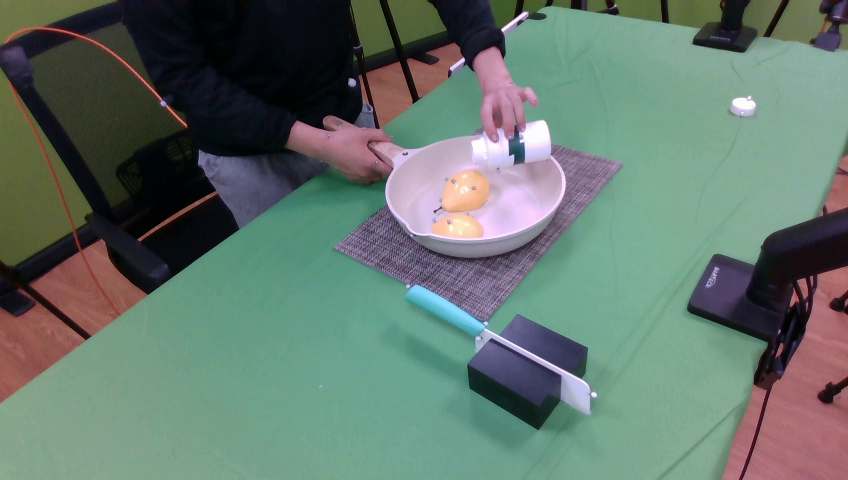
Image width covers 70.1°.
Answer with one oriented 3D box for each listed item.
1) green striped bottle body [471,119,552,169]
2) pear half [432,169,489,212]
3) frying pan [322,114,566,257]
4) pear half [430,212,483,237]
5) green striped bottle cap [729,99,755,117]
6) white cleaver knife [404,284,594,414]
[{"bbox_3d":[0.135,-0.149,0.949,0.119,0.063,0.063,-11,40,0],"label":"green striped bottle body"},{"bbox_3d":[0.057,-0.084,1.023,0.110,0.056,0.075,-33,42,-24],"label":"pear half"},{"bbox_3d":[0.004,-0.121,1.039,0.484,0.103,0.308,31,52,25],"label":"frying pan"},{"bbox_3d":[0.051,-0.024,0.973,0.087,0.031,0.070,14,40,19],"label":"pear half"},{"bbox_3d":[0.623,-0.259,1.183,0.044,0.020,0.044,-3,40,3],"label":"green striped bottle cap"},{"bbox_3d":[0.084,0.135,0.764,0.284,0.066,0.021,28,47,31],"label":"white cleaver knife"}]
